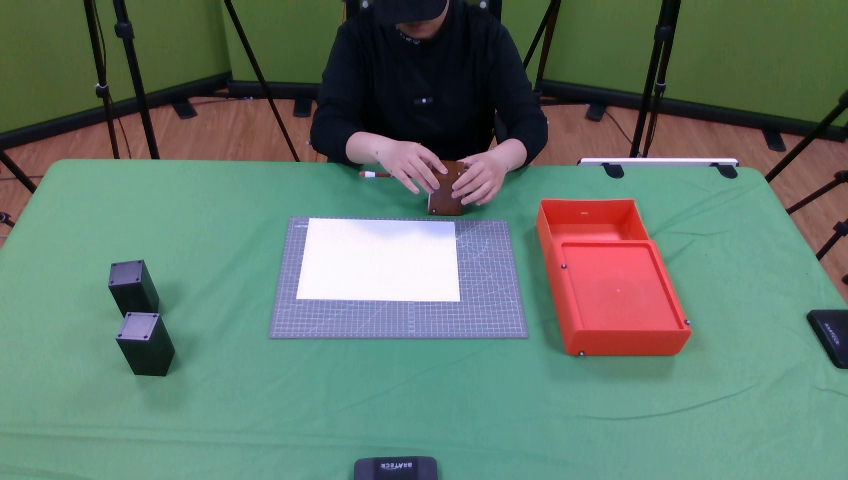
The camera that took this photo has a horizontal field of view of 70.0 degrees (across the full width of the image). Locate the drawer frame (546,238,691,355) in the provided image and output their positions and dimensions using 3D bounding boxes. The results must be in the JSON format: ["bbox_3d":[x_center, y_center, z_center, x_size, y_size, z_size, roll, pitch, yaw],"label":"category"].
[{"bbox_3d":[0.338,0.097,1.086,0.202,0.083,0.212,0,46,-4],"label":"drawer frame"}]

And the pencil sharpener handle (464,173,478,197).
[{"bbox_3d":[0.098,-0.112,1.239,0.030,0.068,0.036,3,54,-2],"label":"pencil sharpener handle"}]

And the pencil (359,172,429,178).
[{"bbox_3d":[-0.034,-0.130,1.225,0.194,0.012,0.012,1,45,-2],"label":"pencil"}]

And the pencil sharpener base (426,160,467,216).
[{"bbox_3d":[0.046,-0.105,1.245,0.077,0.107,0.061,3,46,-2],"label":"pencil sharpener base"}]

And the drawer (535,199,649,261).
[{"bbox_3d":[0.332,0.015,1.169,0.195,0.073,0.210,0,46,-5],"label":"drawer"}]
